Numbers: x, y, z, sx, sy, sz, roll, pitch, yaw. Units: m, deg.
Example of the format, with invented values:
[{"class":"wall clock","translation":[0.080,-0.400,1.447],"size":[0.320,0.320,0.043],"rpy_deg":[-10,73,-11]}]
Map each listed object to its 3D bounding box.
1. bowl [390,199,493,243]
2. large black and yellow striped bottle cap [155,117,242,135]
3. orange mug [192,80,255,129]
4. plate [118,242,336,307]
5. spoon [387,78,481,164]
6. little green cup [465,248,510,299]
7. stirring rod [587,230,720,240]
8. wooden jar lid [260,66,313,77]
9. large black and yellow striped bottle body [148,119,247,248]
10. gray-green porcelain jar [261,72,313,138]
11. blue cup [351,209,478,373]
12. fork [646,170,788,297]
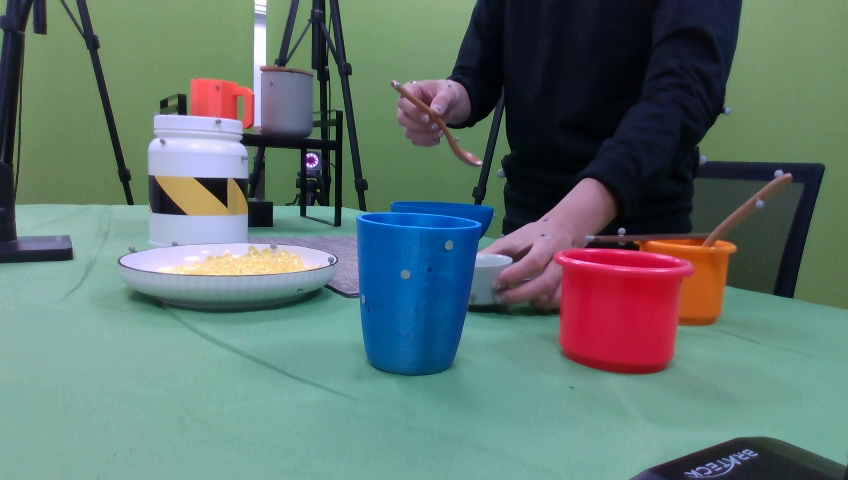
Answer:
[{"class":"bowl","translation":[0.024,-0.016,0.874],"size":[0.151,0.077,0.151],"rpy_deg":[2,7,0]},{"class":"large black and yellow striped bottle cap","translation":[-0.313,-0.159,0.845],"size":[0.115,0.019,0.115],"rpy_deg":[3,9,0]},{"class":"orange mug","translation":[-0.389,-0.257,1.172],"size":[0.126,0.100,0.083],"rpy_deg":[-1,6,9]},{"class":"plate","translation":[-0.194,0.033,0.615],"size":[0.209,0.038,0.209],"rpy_deg":[2,7,0]},{"class":"spoon","translation":[0.016,-0.154,0.791],"size":[0.195,0.021,0.041],"rpy_deg":[39,16,-43]},{"class":"little green cup","translation":[0.053,0.032,0.587],"size":[0.061,0.038,0.061],"rpy_deg":[-2,11,1]},{"class":"stirring rod","translation":[0.227,-0.006,0.586],"size":[0.177,0.006,0.014],"rpy_deg":[-2,9,-29]},{"class":"wooden jar lid","translation":[-0.283,-0.339,1.244],"size":[0.108,0.020,0.108],"rpy_deg":[6,9,-1]},{"class":"large black and yellow striped bottle body","translation":[-0.318,-0.076,0.855],"size":[0.131,0.184,0.130],"rpy_deg":[2,7,0]},{"class":"gray-green porcelain jar","translation":[-0.284,-0.277,1.253],"size":[0.106,0.126,0.106],"rpy_deg":[2,8,0]},{"class":"blue cup","translation":[-0.009,0.034,0.414],"size":[0.093,0.100,0.092],"rpy_deg":[3,9,0]},{"class":"fork","translation":[0.256,0.004,0.543],"size":[0.028,0.018,0.207],"rpy_deg":[3,-37,-10]}]
